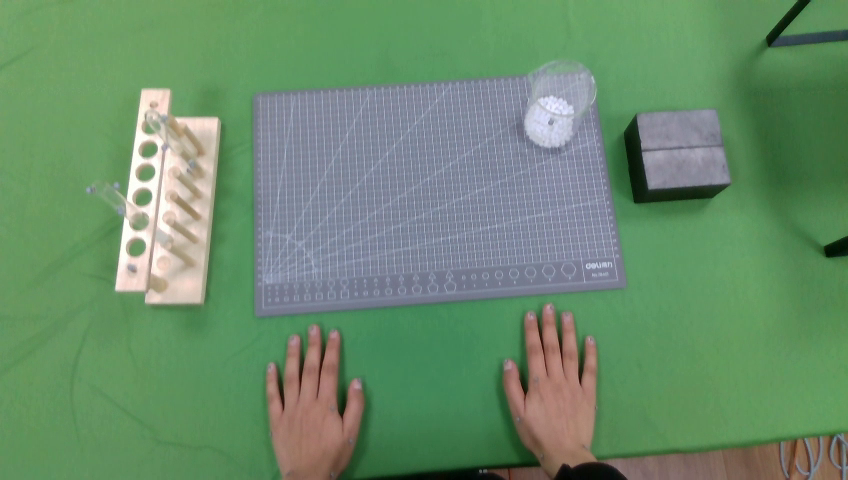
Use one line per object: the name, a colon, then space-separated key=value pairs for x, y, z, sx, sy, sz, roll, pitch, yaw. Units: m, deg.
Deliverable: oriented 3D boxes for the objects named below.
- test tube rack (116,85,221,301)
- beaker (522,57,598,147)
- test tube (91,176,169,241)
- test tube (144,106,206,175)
test tube rack: x=-0.298 y=-0.054 z=0.720 sx=0.067 sy=0.085 sz=0.241 roll=0 pitch=75 yaw=0
beaker: x=0.159 y=-0.165 z=0.742 sx=0.084 sy=0.101 sz=0.074 roll=26 pitch=76 yaw=8
test tube: x=-0.316 y=-0.030 z=0.663 sx=0.017 sy=0.151 sz=0.017 roll=-1 pitch=69 yaw=2
test tube: x=-0.280 y=-0.110 z=0.688 sx=0.017 sy=0.151 sz=0.017 roll=0 pitch=73 yaw=0
